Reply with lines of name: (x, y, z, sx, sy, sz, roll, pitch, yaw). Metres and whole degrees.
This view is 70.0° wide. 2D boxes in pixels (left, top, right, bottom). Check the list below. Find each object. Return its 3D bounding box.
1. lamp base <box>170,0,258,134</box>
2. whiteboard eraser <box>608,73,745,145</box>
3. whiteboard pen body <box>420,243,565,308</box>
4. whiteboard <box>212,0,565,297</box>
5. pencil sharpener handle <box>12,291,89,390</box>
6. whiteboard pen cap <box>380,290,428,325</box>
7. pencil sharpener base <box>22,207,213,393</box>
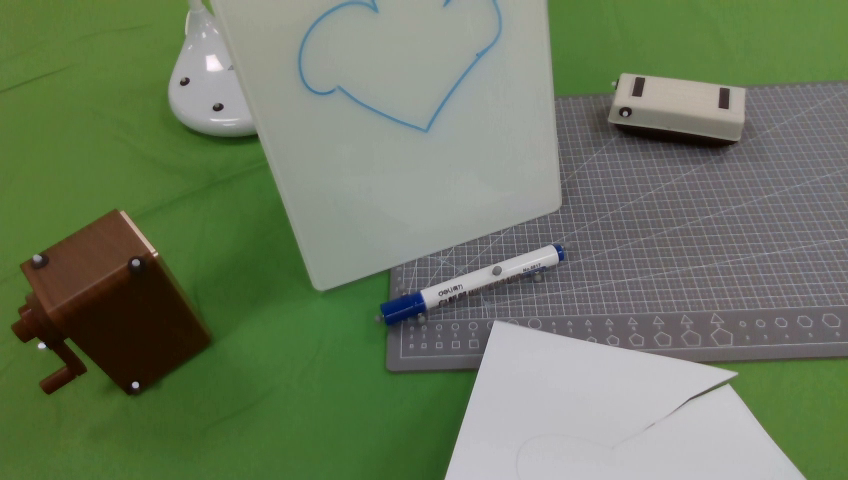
lamp base: (-0.200, -0.221, 0.583, 0.177, 0.182, 0.160, 32, 60, 30)
whiteboard eraser: (0.228, -0.118, 0.549, 0.112, 0.042, 0.055, 12, 54, 15)
whiteboard pen body: (0.041, 0.030, 0.454, 0.141, 0.017, 0.017, -19, 51, -9)
whiteboard: (-0.031, -0.148, 0.466, 0.217, 0.308, 0.142, -19, 32, -9)
pencil sharpener handle: (-0.242, 0.066, 0.382, 0.030, 0.068, 0.035, -37, 44, -22)
whiteboard pen cap: (-0.014, 0.049, 0.445, 0.033, 0.018, 0.018, -20, 51, -9)
pencil sharpener base: (-0.205, 0.044, 0.413, 0.076, 0.108, 0.061, -37, 57, -22)
